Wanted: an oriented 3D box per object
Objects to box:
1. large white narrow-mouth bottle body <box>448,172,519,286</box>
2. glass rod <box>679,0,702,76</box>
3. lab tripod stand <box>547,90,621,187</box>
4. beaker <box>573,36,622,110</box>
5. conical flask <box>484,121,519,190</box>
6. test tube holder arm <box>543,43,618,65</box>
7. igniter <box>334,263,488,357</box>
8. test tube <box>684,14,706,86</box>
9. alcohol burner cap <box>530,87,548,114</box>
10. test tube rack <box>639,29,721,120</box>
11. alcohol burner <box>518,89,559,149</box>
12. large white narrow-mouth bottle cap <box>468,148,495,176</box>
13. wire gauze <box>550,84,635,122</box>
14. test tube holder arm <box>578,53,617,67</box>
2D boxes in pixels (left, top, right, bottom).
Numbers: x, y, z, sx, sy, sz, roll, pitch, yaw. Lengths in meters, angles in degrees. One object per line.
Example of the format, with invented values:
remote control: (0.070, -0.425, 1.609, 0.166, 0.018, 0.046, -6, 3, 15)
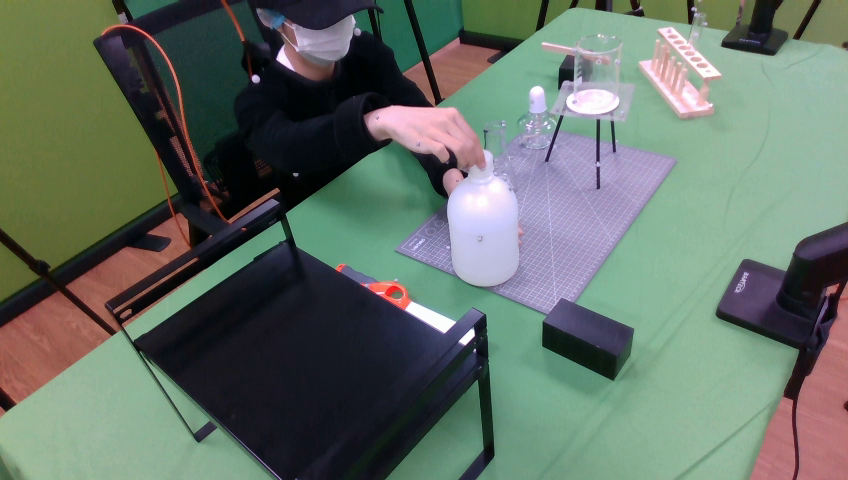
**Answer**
large white narrow-mouth bottle body: (0.086, -0.031, 0.868, 0.102, 0.195, 0.101, -4, 40, 4)
glass rod: (0.543, -0.417, 1.233, 0.008, 0.200, 0.008, 1, 39, 0)
lab tripod stand: (0.289, -0.184, 1.062, 0.148, 0.132, 0.147, -6, 41, 6)
beaker: (0.284, -0.273, 0.990, 0.073, 0.101, 0.084, 16, 46, 28)
conical flask: (0.126, -0.145, 1.051, 0.075, 0.122, 0.075, -5, 40, 4)
test tube holder arm: (0.344, -0.413, 1.340, 0.177, 0.015, 0.013, 25, 51, 31)
igniter: (-0.030, 0.095, 0.872, 0.274, 0.025, 0.057, 23, 60, 31)
test tube: (0.540, -0.378, 1.215, 0.017, 0.151, 0.017, -2, 44, 3)
alcohol burner cap: (0.212, -0.262, 1.126, 0.034, 0.048, 0.033, -8, 36, 7)
test tube rack: (0.527, -0.351, 1.262, 0.067, 0.085, 0.241, -8, 40, 1)
alcohol burner: (0.218, -0.234, 1.149, 0.078, 0.119, 0.077, -5, 43, 5)
large white narrow-mouth bottle cap: (0.077, -0.104, 0.806, 0.038, 0.024, 0.037, -4, 40, 4)
wire gauze: (0.285, -0.234, 1.021, 0.124, 0.011, 0.121, 8, 41, 23)
test tube holder arm: (0.375, -0.393, 1.314, 0.087, 0.015, 0.010, 25, 51, 32)
